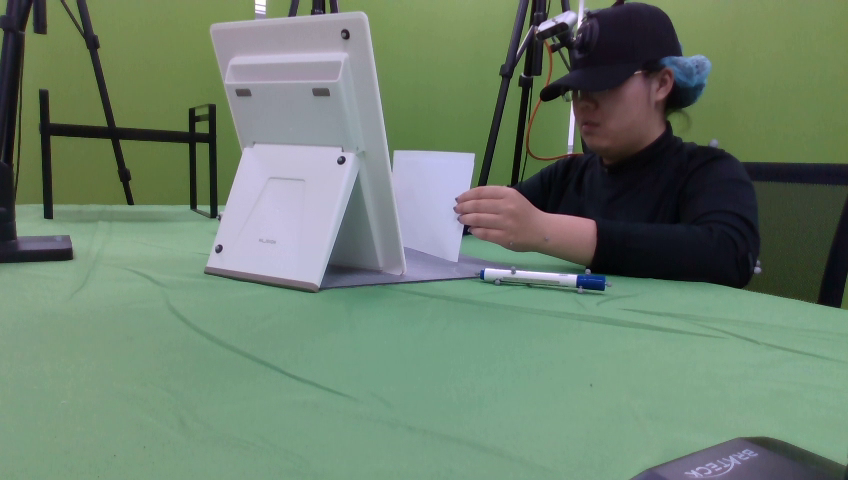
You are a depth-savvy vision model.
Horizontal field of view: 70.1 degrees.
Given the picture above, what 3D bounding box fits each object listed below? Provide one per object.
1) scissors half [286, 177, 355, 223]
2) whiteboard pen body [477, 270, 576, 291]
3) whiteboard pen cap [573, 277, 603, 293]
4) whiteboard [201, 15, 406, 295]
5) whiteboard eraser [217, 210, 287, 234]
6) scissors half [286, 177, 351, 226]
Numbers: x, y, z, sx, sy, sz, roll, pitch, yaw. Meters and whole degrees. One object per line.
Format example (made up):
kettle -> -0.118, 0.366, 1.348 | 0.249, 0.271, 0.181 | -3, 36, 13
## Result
scissors half -> -0.229, -0.091, 1.337 | 0.175, 0.013, 0.040 | 33, 13, -13
whiteboard pen body -> 0.131, 0.048, 0.706 | 0.140, 0.017, 0.017 | 4, 7, 18
whiteboard pen cap -> 0.186, 0.051, 0.687 | 0.033, 0.018, 0.018 | 4, 7, 18
whiteboard -> -0.167, -0.073, 0.668 | 0.216, 0.305, 0.144 | 7, 30, 28
whiteboard eraser -> -0.310, -0.034, 1.094 | 0.113, 0.042, 0.055 | -2, 11, -38
scissors half -> -0.232, -0.085, 1.317 | 0.175, 0.013, 0.040 | 37, 18, 5
